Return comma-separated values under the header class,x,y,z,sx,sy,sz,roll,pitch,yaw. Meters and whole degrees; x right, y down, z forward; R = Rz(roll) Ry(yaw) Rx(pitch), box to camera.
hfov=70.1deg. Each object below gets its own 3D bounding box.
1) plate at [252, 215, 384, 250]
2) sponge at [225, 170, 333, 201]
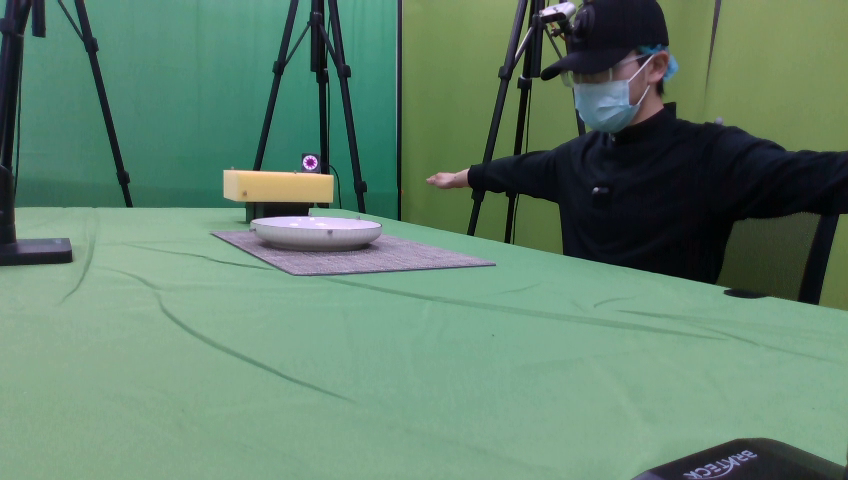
class,x,y,z,sx,sy,sz,roll,pitch,yaw
plate,-0.169,-0.012,0.976,0.208,0.039,0.207,2,7,0
sponge,-0.314,-0.117,1.306,0.208,0.061,0.117,-3,9,-31
